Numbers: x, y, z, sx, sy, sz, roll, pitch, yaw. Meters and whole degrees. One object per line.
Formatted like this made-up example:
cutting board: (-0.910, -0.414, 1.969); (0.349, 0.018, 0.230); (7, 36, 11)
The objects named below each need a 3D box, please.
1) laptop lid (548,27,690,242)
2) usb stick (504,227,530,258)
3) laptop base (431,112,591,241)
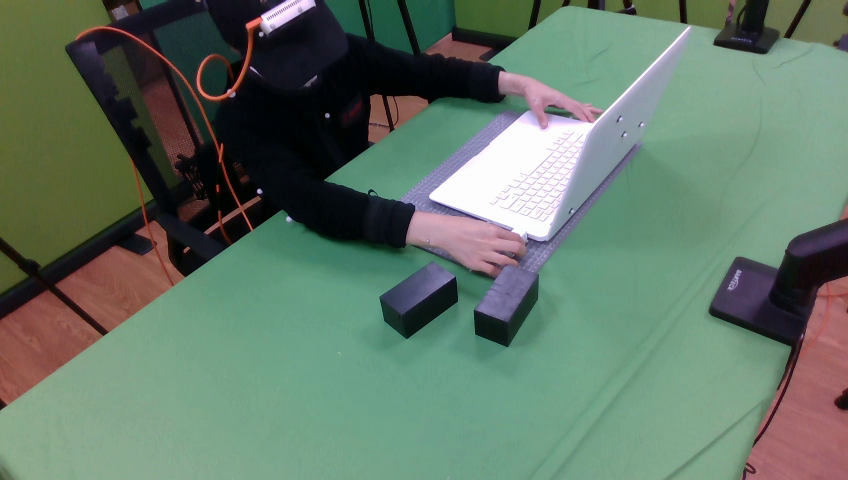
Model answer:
laptop lid: (0.310, -0.168, 0.950); (0.013, 0.242, 0.358); (33, 52, 20)
usb stick: (0.148, 0.000, 0.938); (0.021, 0.027, 0.059); (23, 45, 29)
laptop base: (0.207, -0.129, 1.101); (0.233, 0.023, 0.355); (20, 47, 33)
